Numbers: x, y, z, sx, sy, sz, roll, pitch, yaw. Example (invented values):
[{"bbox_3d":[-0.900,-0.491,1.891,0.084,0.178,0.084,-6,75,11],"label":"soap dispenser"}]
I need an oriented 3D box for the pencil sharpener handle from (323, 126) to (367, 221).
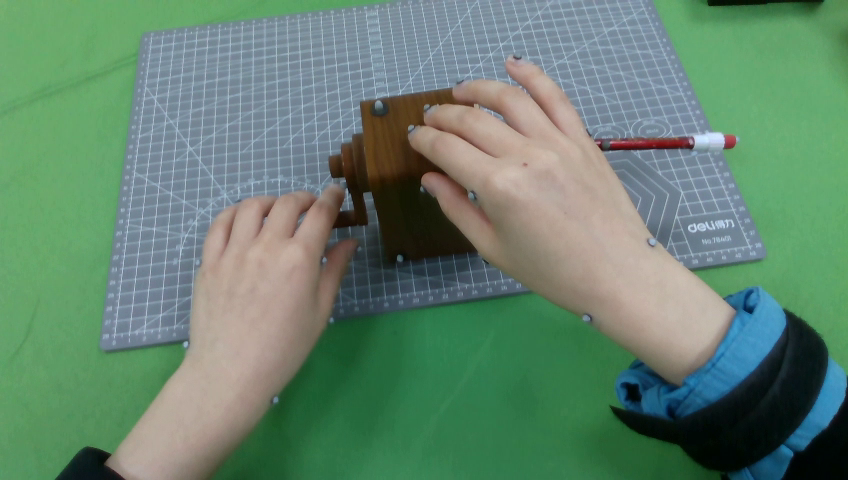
[{"bbox_3d":[-0.052,-0.037,0.372,0.030,0.068,0.035,-9,48,-1],"label":"pencil sharpener handle"}]

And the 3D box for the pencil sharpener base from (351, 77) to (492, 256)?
[{"bbox_3d":[-0.001,-0.042,0.386,0.077,0.108,0.061,-9,61,-1],"label":"pencil sharpener base"}]

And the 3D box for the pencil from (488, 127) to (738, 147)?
[{"bbox_3d":[0.100,-0.062,0.371,0.194,0.012,0.012,-2,61,-7],"label":"pencil"}]
